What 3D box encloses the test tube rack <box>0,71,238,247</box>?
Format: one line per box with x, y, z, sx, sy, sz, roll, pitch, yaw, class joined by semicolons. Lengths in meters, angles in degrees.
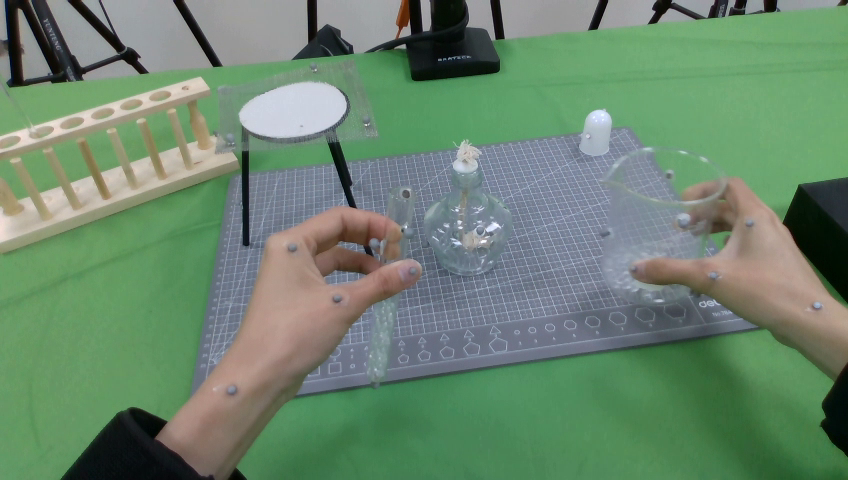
-0.329;-0.088;0.622;0.243;0.086;0.066;-25;47;-21;test tube rack

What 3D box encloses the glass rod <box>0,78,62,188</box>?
-0.381;-0.122;0.564;0.008;0.201;0.008;-1;47;2;glass rod

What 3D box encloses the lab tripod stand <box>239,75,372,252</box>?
-0.107;-0.066;0.542;0.148;0.133;0.147;-2;45;3;lab tripod stand

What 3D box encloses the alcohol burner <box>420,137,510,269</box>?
0.034;-0.033;0.512;0.078;0.120;0.077;-2;41;3;alcohol burner

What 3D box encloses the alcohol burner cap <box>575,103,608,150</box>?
0.181;-0.125;0.650;0.034;0.048;0.033;-2;43;2;alcohol burner cap

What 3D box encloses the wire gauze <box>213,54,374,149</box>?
-0.111;-0.114;0.496;0.125;0.011;0.120;-12;44;-7;wire gauze

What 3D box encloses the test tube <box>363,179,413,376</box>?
-0.025;0.030;0.379;0.017;0.151;0.017;7;34;-4;test tube

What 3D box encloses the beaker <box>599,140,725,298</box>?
0.169;-0.013;0.452;0.084;0.101;0.073;1;39;7;beaker
